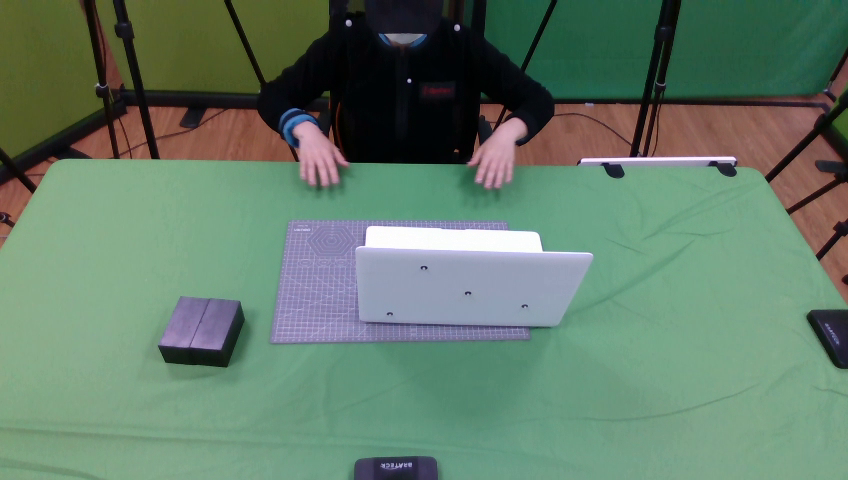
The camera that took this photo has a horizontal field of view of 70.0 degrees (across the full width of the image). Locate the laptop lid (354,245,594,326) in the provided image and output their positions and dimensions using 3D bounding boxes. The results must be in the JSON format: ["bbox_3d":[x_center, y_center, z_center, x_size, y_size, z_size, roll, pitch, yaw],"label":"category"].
[{"bbox_3d":[0.069,0.080,0.964,0.357,0.243,0.013,2,55,-4],"label":"laptop lid"}]

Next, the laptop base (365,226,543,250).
[{"bbox_3d":[0.061,0.063,1.144,0.354,0.023,0.234,2,43,-3],"label":"laptop base"}]
